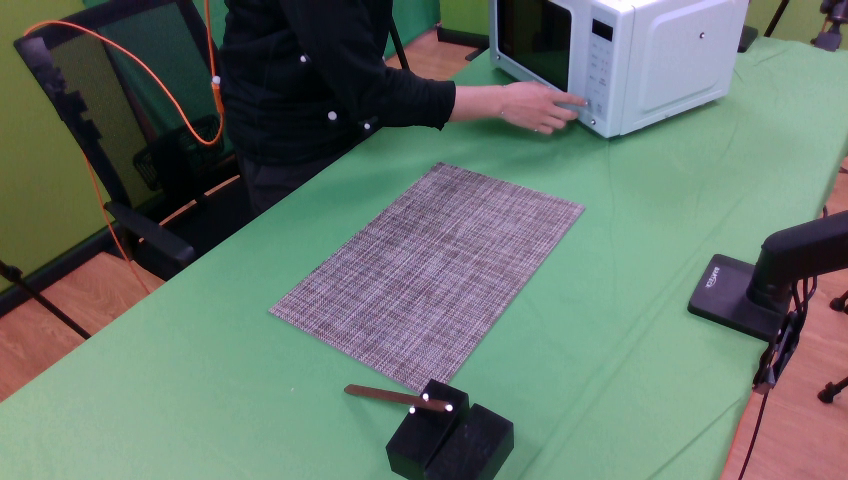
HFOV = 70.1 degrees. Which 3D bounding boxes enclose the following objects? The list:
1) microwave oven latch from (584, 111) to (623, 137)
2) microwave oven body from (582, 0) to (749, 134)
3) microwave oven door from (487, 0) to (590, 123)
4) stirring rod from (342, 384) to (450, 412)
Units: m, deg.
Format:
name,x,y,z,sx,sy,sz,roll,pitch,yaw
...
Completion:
name,x,y,z,sx,sy,sz,roll,pitch,yaw
microwave oven latch,0.337,-0.222,1.142,0.030,0.029,0.078,-21,42,-14
microwave oven body,0.382,-0.444,1.246,0.327,0.261,0.437,-22,42,-16
microwave oven door,0.232,-0.420,1.231,0.039,0.245,0.352,-22,43,-16
stirring rod,-0.038,0.186,0.714,0.175,0.006,0.014,-3,22,43
